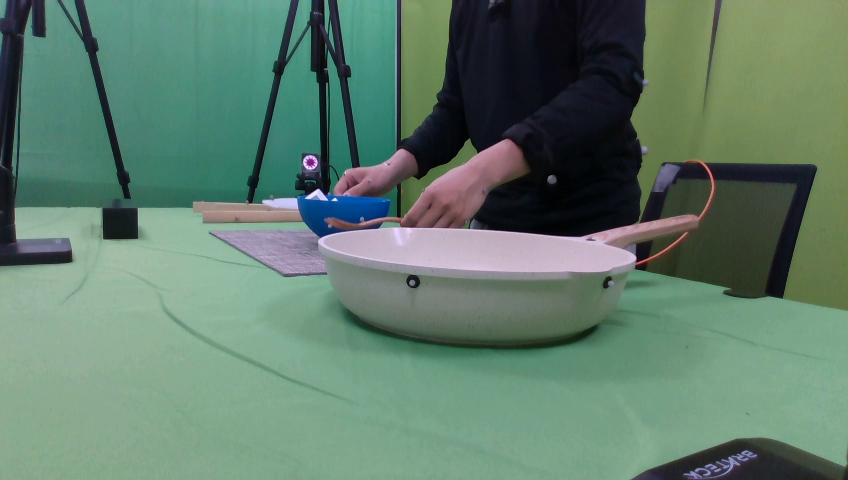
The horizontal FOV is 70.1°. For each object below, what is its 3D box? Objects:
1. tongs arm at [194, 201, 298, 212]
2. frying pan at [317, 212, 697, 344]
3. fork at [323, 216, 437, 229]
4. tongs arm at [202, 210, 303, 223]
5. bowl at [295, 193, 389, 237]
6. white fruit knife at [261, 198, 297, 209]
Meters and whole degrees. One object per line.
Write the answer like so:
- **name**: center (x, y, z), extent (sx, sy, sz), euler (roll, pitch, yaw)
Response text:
- **tongs arm**: center (-0.335, -0.072, 1.424), extent (0.387, 0.026, 0.050), euler (0, 9, -24)
- **frying pan**: center (0.133, 0.013, 0.629), extent (0.490, 0.102, 0.305), euler (-12, 14, -31)
- **fork**: center (-0.056, -0.025, 0.876), extent (0.208, 0.018, 0.028), euler (-3, -19, -45)
- **tongs arm**: center (-0.298, -0.056, 1.354), extent (0.390, 0.028, 0.028), euler (-3, 7, -36)
- **bowl**: center (-0.133, -0.033, 0.981), extent (0.151, 0.077, 0.151), euler (2, 7, 0)
- **white fruit knife**: center (-0.191, -0.068, 1.095), extent (0.208, 0.027, 0.016), euler (-2, -18, -29)
